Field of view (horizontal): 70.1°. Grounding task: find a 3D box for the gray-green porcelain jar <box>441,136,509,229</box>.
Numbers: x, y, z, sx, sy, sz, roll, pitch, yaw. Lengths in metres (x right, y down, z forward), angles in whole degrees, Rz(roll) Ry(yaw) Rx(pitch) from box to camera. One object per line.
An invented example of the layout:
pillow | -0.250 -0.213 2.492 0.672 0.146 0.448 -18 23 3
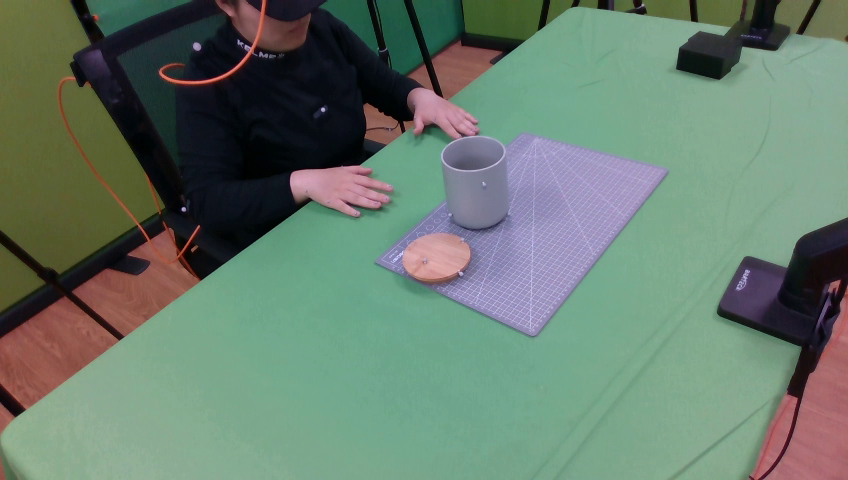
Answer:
gray-green porcelain jar | 0.086 -0.090 0.988 0.106 0.127 0.105 -5 40 5

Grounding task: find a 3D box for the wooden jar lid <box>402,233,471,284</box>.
wooden jar lid | 0.020 0.030 0.941 0.108 0.021 0.108 -4 40 4
